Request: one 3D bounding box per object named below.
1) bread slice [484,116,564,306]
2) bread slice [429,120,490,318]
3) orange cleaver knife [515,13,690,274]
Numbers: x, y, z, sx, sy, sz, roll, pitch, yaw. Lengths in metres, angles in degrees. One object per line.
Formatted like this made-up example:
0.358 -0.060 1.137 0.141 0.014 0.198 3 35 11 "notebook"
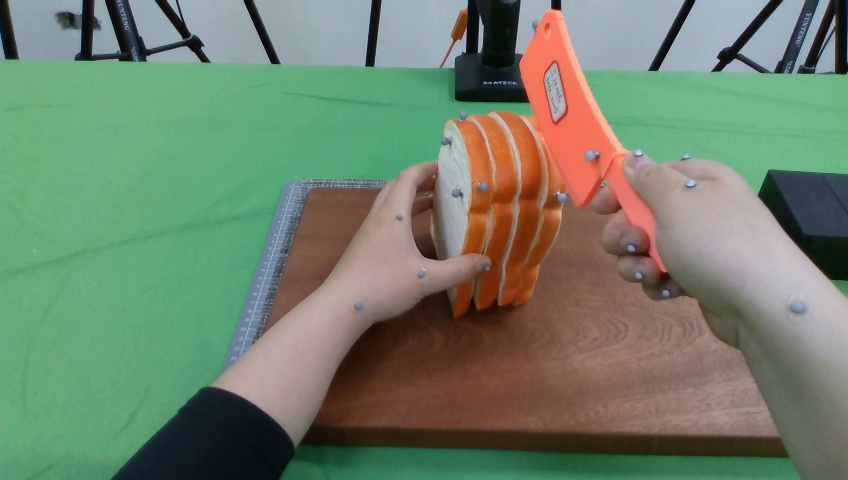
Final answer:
0.076 -0.028 0.478 0.019 0.132 0.103 -1 43 -15 "bread slice"
0.026 -0.024 0.473 0.018 0.135 0.106 -4 38 -12 "bread slice"
0.098 -0.057 0.375 0.012 0.078 0.209 -7 55 -16 "orange cleaver knife"
